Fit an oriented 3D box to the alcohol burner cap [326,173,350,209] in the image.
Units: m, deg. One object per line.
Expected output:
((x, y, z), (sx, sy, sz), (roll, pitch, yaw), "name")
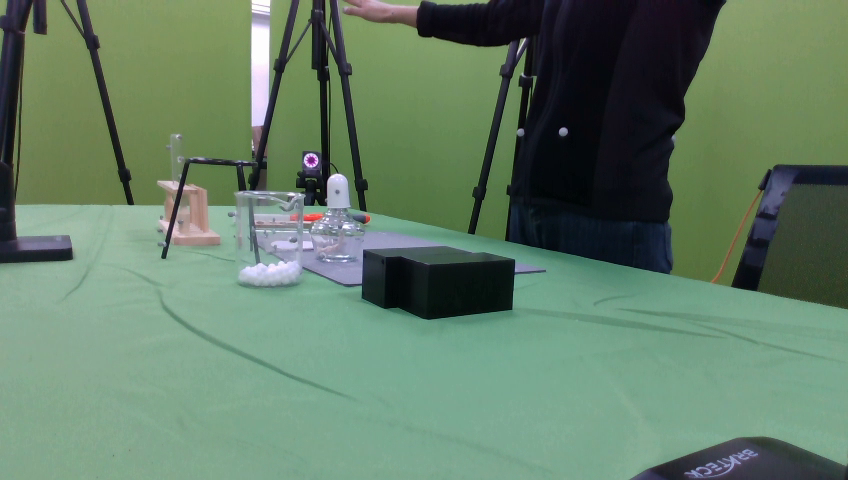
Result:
((-0.116, -0.065, 0.808), (0.034, 0.048, 0.034), (-3, 10, 1), "alcohol burner cap")

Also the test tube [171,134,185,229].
((-0.390, -0.092, 0.963), (0.017, 0.150, 0.017), (-1, 4, 0), "test tube")

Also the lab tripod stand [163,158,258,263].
((-0.265, -0.041, 0.802), (0.148, 0.131, 0.148), (4, 7, 0), "lab tripod stand")

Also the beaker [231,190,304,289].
((-0.166, -0.001, 0.653), (0.074, 0.100, 0.083), (-4, 10, -40), "beaker")

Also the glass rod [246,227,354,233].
((-0.224, -0.017, 1.109), (0.201, 0.008, 0.008), (1, 7, -27), "glass rod")

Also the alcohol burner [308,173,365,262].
((-0.117, -0.030, 0.813), (0.078, 0.119, 0.078), (4, 9, 0), "alcohol burner")

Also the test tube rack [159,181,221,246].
((-0.395, -0.049, 1.010), (0.067, 0.085, 0.241), (-2, 8, -28), "test tube rack")

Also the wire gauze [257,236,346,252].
((-0.189, 0.005, 0.931), (0.122, 0.011, 0.124), (1, 7, -21), "wire gauze")

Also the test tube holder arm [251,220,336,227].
((-0.253, -0.031, 1.156), (0.179, 0.015, 0.013), (-2, 44, -30), "test tube holder arm")

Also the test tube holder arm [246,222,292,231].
((-0.291, -0.026, 1.130), (0.088, 0.015, 0.010), (-1, 43, -29), "test tube holder arm")

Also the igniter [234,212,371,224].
((-0.245, -0.045, 1.248), (0.278, 0.025, 0.057), (-1, -2, -25), "igniter")
